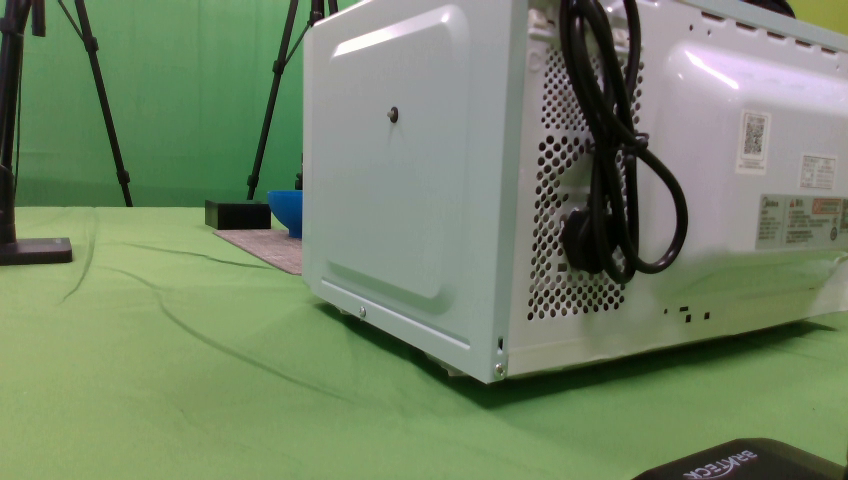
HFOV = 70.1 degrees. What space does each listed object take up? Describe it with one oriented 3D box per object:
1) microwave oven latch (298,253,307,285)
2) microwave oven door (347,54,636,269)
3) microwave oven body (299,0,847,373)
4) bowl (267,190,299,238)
[{"bbox_3d":[-0.081,0.027,0.582,0.079,0.029,0.030,-1,7,-32],"label":"microwave oven latch"},{"bbox_3d":[0.089,-0.087,0.734,0.357,0.243,0.039,0,8,-15],"label":"microwave oven door"},{"bbox_3d":[0.151,-0.055,0.543,0.444,0.260,0.324,-2,7,-33],"label":"microwave oven body"},{"bbox_3d":[-0.202,-0.046,1.070,0.151,0.077,0.151,3,7,0],"label":"bowl"}]
